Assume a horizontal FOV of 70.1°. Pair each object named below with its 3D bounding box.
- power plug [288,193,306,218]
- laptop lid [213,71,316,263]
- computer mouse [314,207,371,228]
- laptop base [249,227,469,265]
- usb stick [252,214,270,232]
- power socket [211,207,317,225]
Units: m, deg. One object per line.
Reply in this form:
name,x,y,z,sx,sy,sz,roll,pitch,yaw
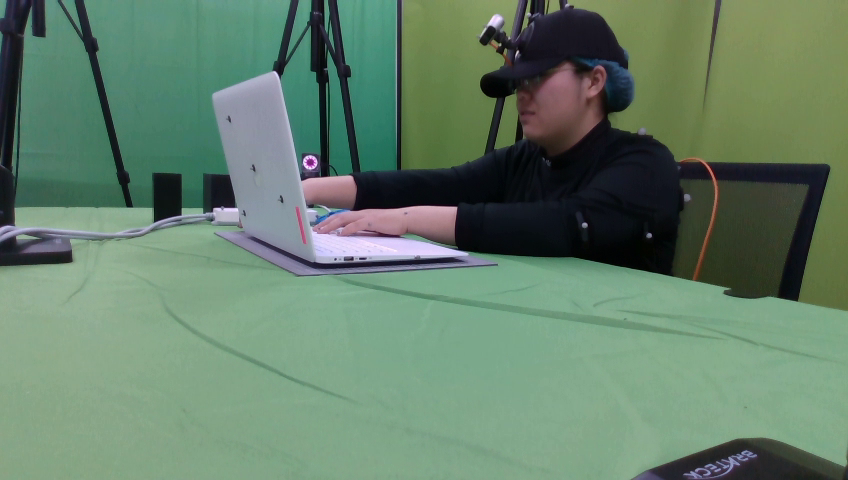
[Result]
power plug,-0.281,-0.076,1.340,0.035,0.052,0.072,3,5,-18
laptop lid,-0.240,-0.104,0.865,0.013,0.241,0.355,-16,17,-28
computer mouse,-0.173,-0.047,1.285,0.118,0.041,0.062,-7,12,-29
laptop base,-0.121,0.007,0.954,0.237,0.023,0.352,2,6,-31
usb stick,-0.288,-0.029,1.074,0.021,0.027,0.059,-3,14,-31
power socket,-0.334,-0.051,1.282,0.228,0.032,0.072,-1,9,-28
